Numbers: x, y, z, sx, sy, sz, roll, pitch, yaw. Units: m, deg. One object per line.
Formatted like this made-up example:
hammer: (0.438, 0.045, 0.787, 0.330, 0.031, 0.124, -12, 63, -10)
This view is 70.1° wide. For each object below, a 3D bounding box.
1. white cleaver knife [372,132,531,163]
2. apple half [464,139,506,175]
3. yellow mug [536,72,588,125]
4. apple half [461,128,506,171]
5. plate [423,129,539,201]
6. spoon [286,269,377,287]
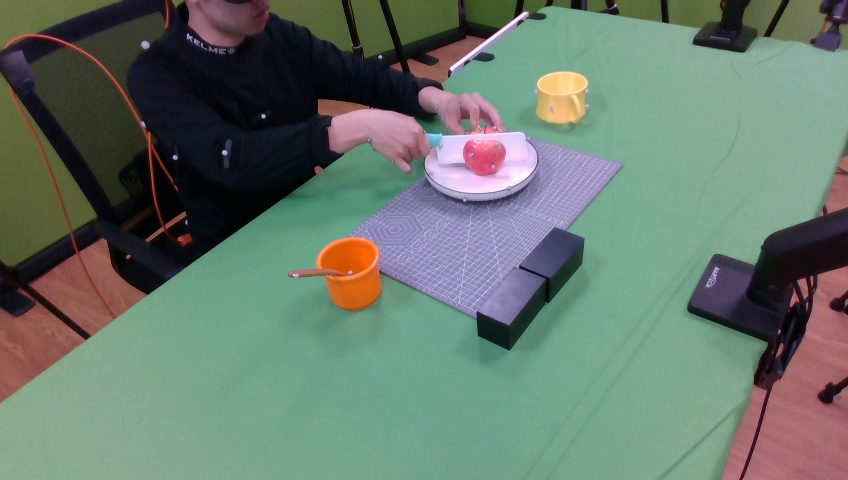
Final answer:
white cleaver knife: (0.045, -0.161, 1.072, 0.285, 0.066, 0.021, 2, 41, 13)
apple half: (0.105, -0.139, 1.060, 0.081, 0.081, 0.032, 1, 44, 10)
yellow mug: (0.285, -0.281, 1.222, 0.100, 0.064, 0.130, -16, 42, -9)
apple half: (0.107, -0.164, 1.084, 0.081, 0.075, 0.053, -4, 29, 3)
plate: (0.102, -0.132, 1.092, 0.209, 0.038, 0.208, -4, 40, 4)
spoon: (-0.125, 0.049, 0.831, 0.041, 0.195, 0.021, 22, 93, 28)
